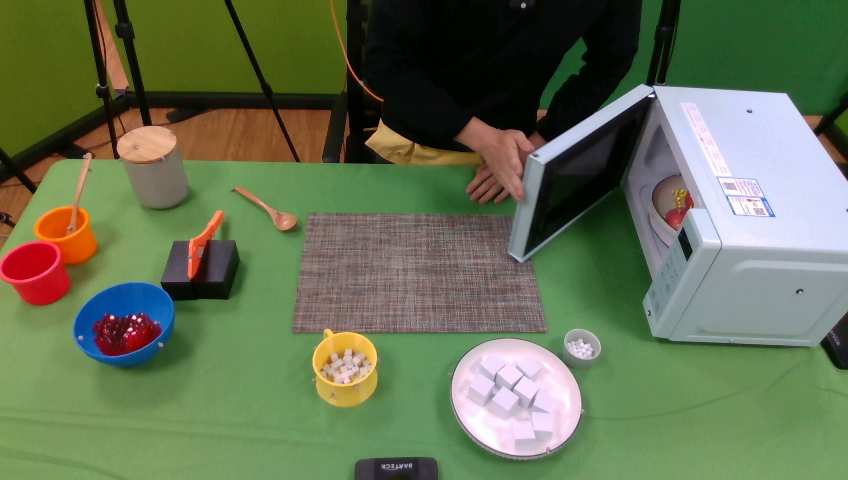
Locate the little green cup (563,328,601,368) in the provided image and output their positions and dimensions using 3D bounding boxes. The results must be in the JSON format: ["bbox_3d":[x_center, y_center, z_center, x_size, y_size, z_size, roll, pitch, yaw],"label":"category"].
[{"bbox_3d":[0.265,0.184,1.025,0.061,0.039,0.061,1,46,-1],"label":"little green cup"}]

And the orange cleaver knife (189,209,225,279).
[{"bbox_3d":[-0.401,0.002,1.122,0.012,0.077,0.210,4,23,-4],"label":"orange cleaver knife"}]

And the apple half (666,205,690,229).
[{"bbox_3d":[0.508,-0.046,1.168,0.081,0.033,0.081,4,46,-4],"label":"apple half"}]

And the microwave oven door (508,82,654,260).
[{"bbox_3d":[0.306,-0.137,1.170,0.356,0.245,0.039,-34,58,-30],"label":"microwave oven door"}]

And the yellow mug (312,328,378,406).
[{"bbox_3d":[-0.132,0.193,0.971,0.100,0.064,0.130,-22,51,-22],"label":"yellow mug"}]

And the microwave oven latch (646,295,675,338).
[{"bbox_3d":[0.412,0.133,1.060,0.030,0.029,0.078,4,46,1],"label":"microwave oven latch"}]

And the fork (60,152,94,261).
[{"bbox_3d":[-0.638,-0.063,1.120,0.028,0.018,0.207,12,90,5],"label":"fork"}]

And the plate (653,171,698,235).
[{"bbox_3d":[0.551,-0.054,1.188,0.209,0.038,0.208,2,47,-2],"label":"plate"}]

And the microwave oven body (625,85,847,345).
[{"bbox_3d":[0.568,-0.054,1.116,0.326,0.261,0.439,2,46,-1],"label":"microwave oven body"}]

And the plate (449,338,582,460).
[{"bbox_3d":[0.141,0.251,0.956,0.208,0.039,0.206,2,46,-2],"label":"plate"}]

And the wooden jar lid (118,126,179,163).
[{"bbox_3d":[-0.528,-0.181,1.167,0.108,0.021,0.107,3,47,-4],"label":"wooden jar lid"}]

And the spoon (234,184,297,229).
[{"bbox_3d":[-0.327,-0.073,1.239,0.193,0.022,0.041,34,71,25],"label":"spoon"}]

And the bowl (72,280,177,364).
[{"bbox_3d":[-0.473,0.146,0.982,0.151,0.077,0.150,2,46,-2],"label":"bowl"}]

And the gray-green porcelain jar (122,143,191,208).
[{"bbox_3d":[-0.531,-0.137,1.214,0.106,0.127,0.105,2,47,-2],"label":"gray-green porcelain jar"}]

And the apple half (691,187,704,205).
[{"bbox_3d":[0.571,-0.089,1.194,0.081,0.053,0.074,-1,34,15],"label":"apple half"}]
